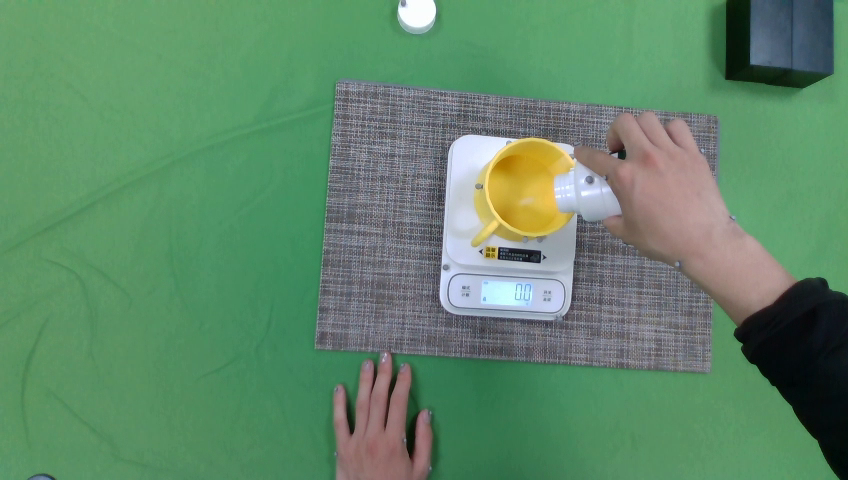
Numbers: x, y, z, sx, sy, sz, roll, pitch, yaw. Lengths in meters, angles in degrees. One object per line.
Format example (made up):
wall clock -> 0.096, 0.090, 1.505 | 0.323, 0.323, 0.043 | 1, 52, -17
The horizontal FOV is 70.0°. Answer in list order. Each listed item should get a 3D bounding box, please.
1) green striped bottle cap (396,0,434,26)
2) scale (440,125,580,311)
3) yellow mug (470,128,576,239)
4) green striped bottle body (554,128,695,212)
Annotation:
green striped bottle cap -> -0.010, -0.269, 0.693 | 0.044, 0.020, 0.044 | 0, 89, -4
scale -> 0.097, -0.024, 0.674 | 0.149, 0.031, 0.200 | 3, 87, -4
yellow mug -> 0.095, -0.048, 0.628 | 0.100, 0.064, 0.131 | 44, 85, -1
green striped bottle body -> 0.184, -0.062, 0.563 | 0.119, 0.063, 0.063 | -8, 86, 23
